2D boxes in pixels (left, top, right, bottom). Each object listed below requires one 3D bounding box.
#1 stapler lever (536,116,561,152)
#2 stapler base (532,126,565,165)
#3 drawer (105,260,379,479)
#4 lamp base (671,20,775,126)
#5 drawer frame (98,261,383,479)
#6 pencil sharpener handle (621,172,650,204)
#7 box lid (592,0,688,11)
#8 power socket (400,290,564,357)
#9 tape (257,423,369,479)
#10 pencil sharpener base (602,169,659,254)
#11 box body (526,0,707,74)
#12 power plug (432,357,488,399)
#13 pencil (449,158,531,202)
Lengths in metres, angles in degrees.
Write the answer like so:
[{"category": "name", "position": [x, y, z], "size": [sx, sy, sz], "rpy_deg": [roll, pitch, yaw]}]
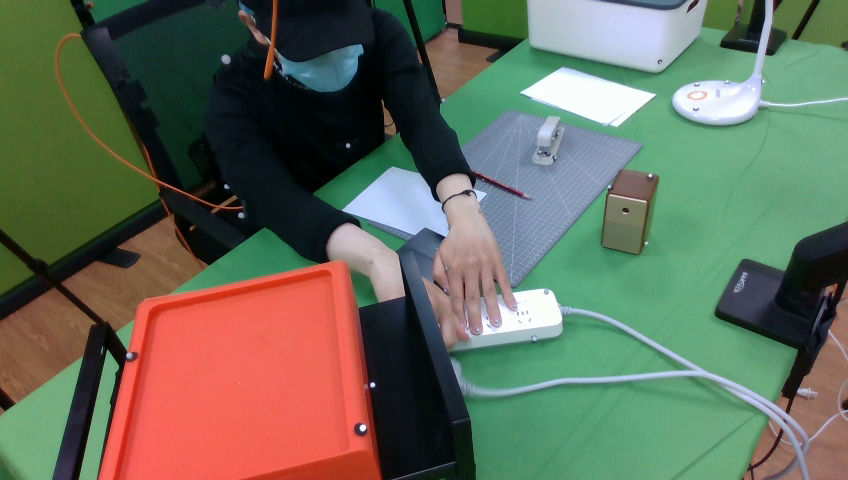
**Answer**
[{"category": "stapler lever", "position": [0.235, -0.209, 1.141], "size": [0.026, 0.040, 0.118], "rpy_deg": [10, 43, 18]}, {"category": "stapler base", "position": [0.238, -0.189, 1.155], "size": [0.041, 0.024, 0.130], "rpy_deg": [10, 42, 18]}, {"category": "drawer", "position": [-0.150, 0.127, 0.525], "size": [0.195, 0.073, 0.210], "rpy_deg": [-11, 41, -5]}, {"category": "lamp base", "position": [0.582, -0.332, 1.153], "size": [0.179, 0.181, 0.160], "rpy_deg": [2, 41, 7]}, {"category": "drawer frame", "position": [-0.148, 0.129, 0.520], "size": [0.202, 0.083, 0.212], "rpy_deg": [-12, 41, -6]}, {"category": "pencil sharpener handle", "position": [0.328, -0.086, 0.941], "size": [0.036, 0.068, 0.030], "rpy_deg": [30, 49, 8]}, {"category": "box lid", "position": [0.441, -0.596, 1.383], "size": [0.368, 0.015, 0.264], "rpy_deg": [24, 49, 31]}, {"category": "power socket", "position": [0.079, 0.113, 0.821], "size": [0.227, 0.033, 0.072], "rpy_deg": [-7, 41, -1]}, {"category": "tape", "position": [-0.121, 0.262, 0.660], "size": [0.117, 0.053, 0.116], "rpy_deg": [-4, 40, 4]}, {"category": "pencil sharpener base", "position": [0.312, -0.044, 0.914], "size": [0.061, 0.107, 0.077], "rpy_deg": [14, 45, 24]}, {"category": "box body", "position": [0.450, -0.540, 1.430], "size": [0.361, 0.161, 0.255], "rpy_deg": [24, 50, 31]}, {"category": "power plug", "position": [0.042, 0.177, 0.763], "size": [0.035, 0.073, 0.052], "rpy_deg": [-46, 8, 10]}, {"category": "pencil", "position": [0.116, -0.108, 1.091], "size": [0.012, 0.012, 0.192], "rpy_deg": [-35, 50, -29]}]
